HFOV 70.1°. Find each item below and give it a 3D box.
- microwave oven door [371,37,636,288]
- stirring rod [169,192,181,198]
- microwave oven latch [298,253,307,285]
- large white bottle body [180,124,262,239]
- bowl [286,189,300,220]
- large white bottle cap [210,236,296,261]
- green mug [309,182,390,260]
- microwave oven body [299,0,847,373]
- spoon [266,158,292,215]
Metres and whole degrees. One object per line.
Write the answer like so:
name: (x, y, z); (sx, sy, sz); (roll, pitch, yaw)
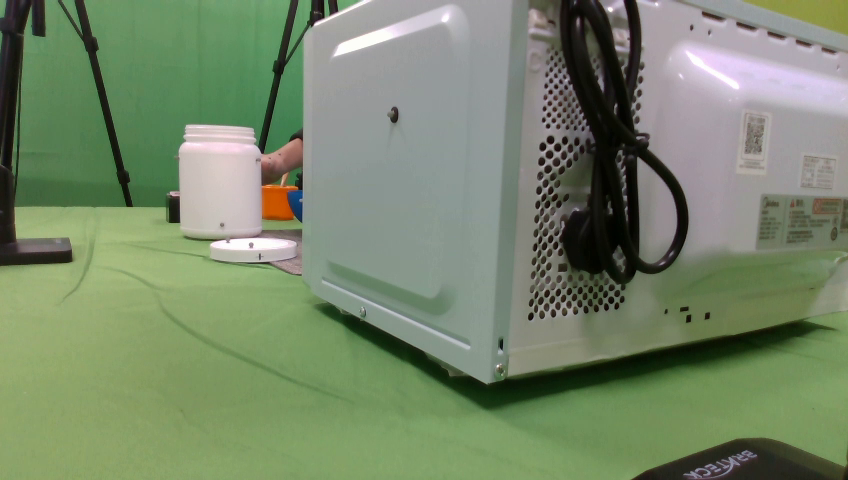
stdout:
microwave oven door: (0.110, -0.080, 0.687); (0.358, 0.243, 0.039); (-2, 9, -33)
stirring rod: (-0.465, -0.098, 1.283); (0.014, 0.006, 0.177); (42, 22, 17)
microwave oven latch: (-0.081, 0.027, 0.582); (0.079, 0.029, 0.030); (-1, 7, -32)
large white bottle body: (-0.344, -0.100, 1.028); (0.131, 0.184, 0.130); (1, 7, 0)
bowl: (-0.179, -0.051, 1.114); (0.151, 0.077, 0.151); (3, 8, 0)
large white bottle cap: (-0.236, 0.011, 0.839); (0.115, 0.018, 0.115); (-1, 10, 0)
green mug: (-0.102, -0.029, 0.864); (0.126, 0.105, 0.092); (-3, 8, -40)
microwave oven body: (0.151, -0.055, 0.542); (0.444, 0.260, 0.324); (-2, 7, -33)
spoon: (-0.334, -0.128, 1.423); (0.041, 0.193, 0.022); (0, -38, 7)
